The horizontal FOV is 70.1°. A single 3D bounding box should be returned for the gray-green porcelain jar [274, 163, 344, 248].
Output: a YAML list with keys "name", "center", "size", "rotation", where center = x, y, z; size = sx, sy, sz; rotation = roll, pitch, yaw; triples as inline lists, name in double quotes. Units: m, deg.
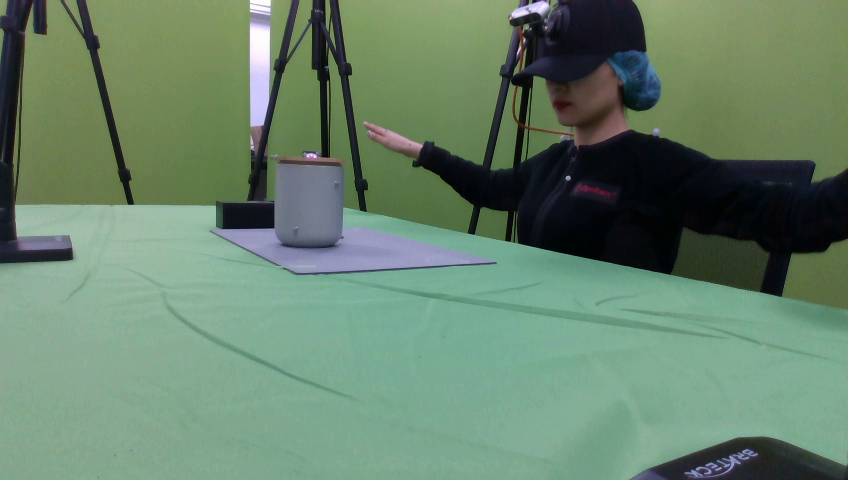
- name: "gray-green porcelain jar"
  center: [-0.180, -0.055, 0.945]
  size: [0.106, 0.126, 0.106]
  rotation: [2, 7, 0]

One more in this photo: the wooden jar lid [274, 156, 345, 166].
- name: "wooden jar lid"
  center: [-0.177, -0.119, 0.936]
  size: [0.108, 0.020, 0.108]
  rotation: [2, 8, 0]
